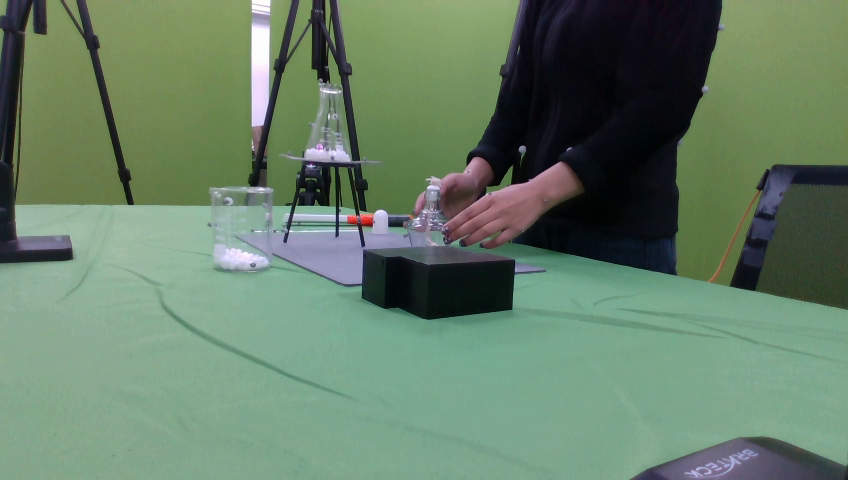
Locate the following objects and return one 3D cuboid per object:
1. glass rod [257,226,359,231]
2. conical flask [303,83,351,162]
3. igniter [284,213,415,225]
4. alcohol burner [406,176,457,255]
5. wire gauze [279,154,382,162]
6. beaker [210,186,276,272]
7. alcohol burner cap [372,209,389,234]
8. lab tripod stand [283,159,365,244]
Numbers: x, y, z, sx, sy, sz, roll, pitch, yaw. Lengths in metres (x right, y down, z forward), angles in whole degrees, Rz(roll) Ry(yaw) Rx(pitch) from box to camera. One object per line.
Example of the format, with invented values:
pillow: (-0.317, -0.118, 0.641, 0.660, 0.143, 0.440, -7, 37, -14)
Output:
glass rod: (-0.215, -0.021, 1.151, 0.201, 0.008, 0.008, -2, 8, -27)
conical flask: (-0.151, -0.186, 0.963, 0.075, 0.122, 0.075, 4, 6, 0)
igniter: (-0.154, -0.045, 1.282, 0.278, 0.025, 0.057, 0, -3, -20)
alcohol burner: (0.012, -0.038, 0.919, 0.078, 0.119, 0.078, 2, 5, 0)
wire gauze: (-0.149, -0.128, 0.974, 0.124, 0.011, 0.122, 6, 6, 41)
beaker: (-0.224, -0.014, 0.738, 0.084, 0.100, 0.074, 4, 7, 16)
alcohol burner cap: (-0.082, -0.035, 1.143, 0.034, 0.048, 0.034, 2, 6, 0)
lab tripod stand: (-0.151, -0.063, 0.983, 0.148, 0.131, 0.148, 4, 7, 0)
